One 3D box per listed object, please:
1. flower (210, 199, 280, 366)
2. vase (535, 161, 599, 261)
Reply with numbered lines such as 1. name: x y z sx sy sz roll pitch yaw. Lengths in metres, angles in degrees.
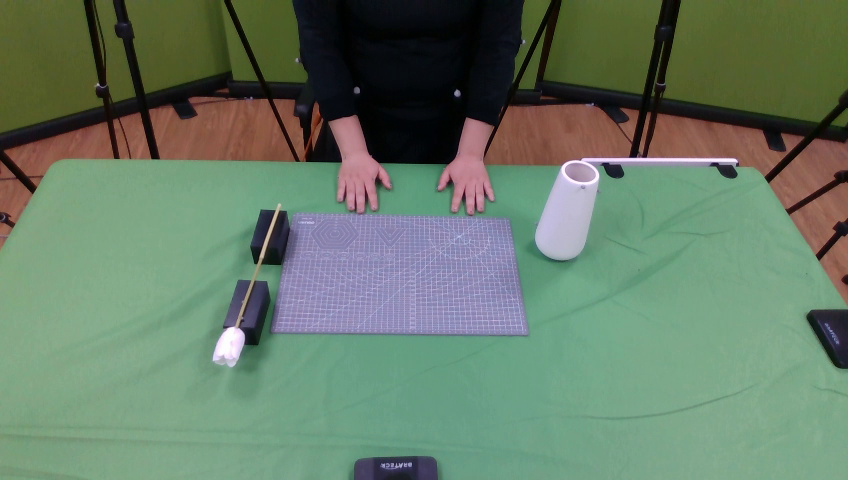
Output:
1. flower: -0.297 0.056 1.054 0.044 0.038 0.359 -16 44 24
2. vase: 0.271 -0.051 1.145 0.098 0.201 0.097 1 46 -1
